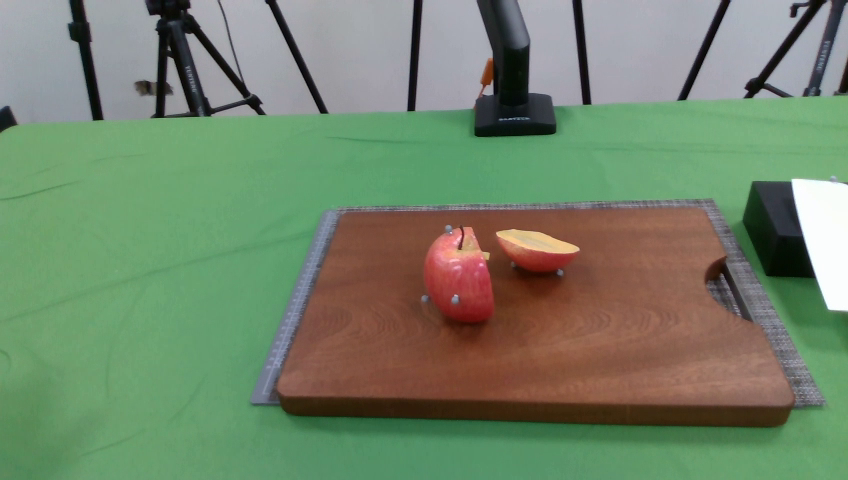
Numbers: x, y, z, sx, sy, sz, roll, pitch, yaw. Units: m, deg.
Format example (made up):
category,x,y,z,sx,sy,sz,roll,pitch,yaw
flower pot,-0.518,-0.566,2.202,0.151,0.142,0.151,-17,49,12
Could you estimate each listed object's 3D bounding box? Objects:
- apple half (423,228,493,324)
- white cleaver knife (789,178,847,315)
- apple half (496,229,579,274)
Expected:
category,x,y,z,sx,sy,sz,roll,pitch,yaw
apple half,0.026,0.034,0.532,0.053,0.075,0.080,-13,40,-3
white cleaver knife,0.375,0.045,0.524,0.066,0.022,0.284,0,47,13
apple half,0.103,0.015,0.577,0.081,0.033,0.081,9,16,-2
